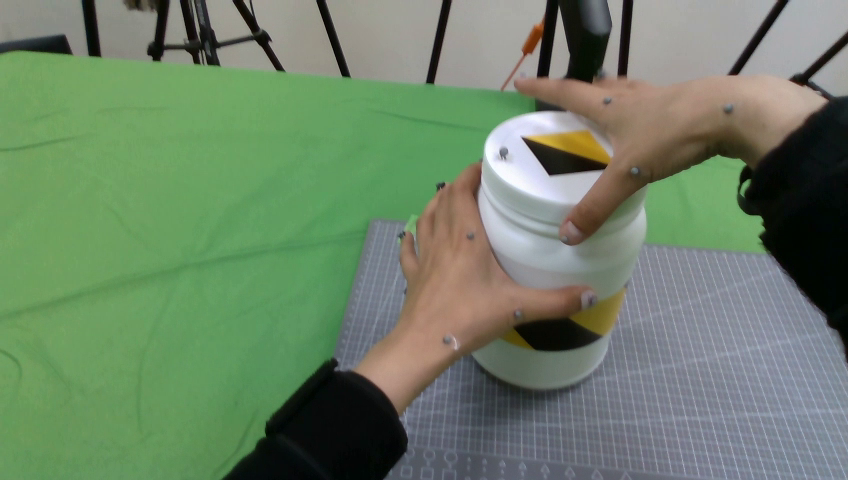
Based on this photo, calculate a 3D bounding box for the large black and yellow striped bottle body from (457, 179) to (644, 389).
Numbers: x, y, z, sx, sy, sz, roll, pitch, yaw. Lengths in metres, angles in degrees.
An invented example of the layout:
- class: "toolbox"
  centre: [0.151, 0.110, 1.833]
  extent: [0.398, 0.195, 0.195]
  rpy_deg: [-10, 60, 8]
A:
- class: "large black and yellow striped bottle body"
  centre: [0.095, 0.015, 0.480]
  extent: [0.131, 0.185, 0.129]
  rpy_deg: [1, 42, -1]

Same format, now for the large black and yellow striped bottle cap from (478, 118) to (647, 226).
- class: "large black and yellow striped bottle cap"
  centre: [0.095, -0.051, 0.421]
  extent: [0.115, 0.019, 0.114]
  rpy_deg: [2, 40, -1]
